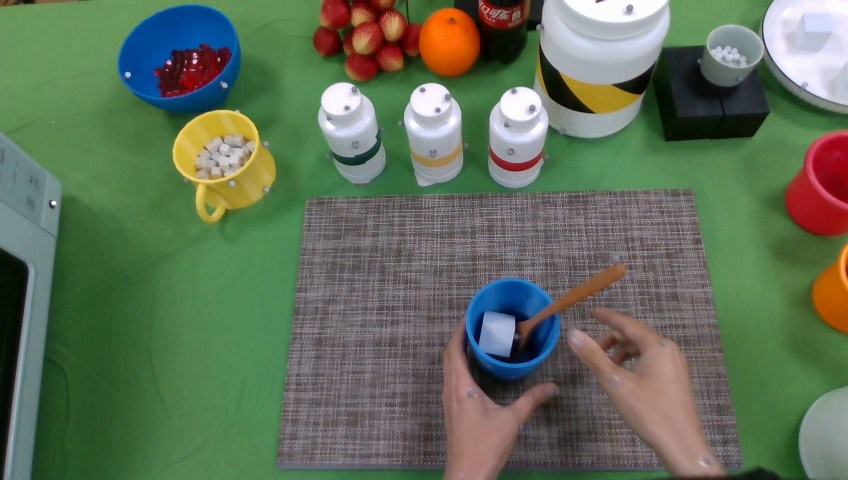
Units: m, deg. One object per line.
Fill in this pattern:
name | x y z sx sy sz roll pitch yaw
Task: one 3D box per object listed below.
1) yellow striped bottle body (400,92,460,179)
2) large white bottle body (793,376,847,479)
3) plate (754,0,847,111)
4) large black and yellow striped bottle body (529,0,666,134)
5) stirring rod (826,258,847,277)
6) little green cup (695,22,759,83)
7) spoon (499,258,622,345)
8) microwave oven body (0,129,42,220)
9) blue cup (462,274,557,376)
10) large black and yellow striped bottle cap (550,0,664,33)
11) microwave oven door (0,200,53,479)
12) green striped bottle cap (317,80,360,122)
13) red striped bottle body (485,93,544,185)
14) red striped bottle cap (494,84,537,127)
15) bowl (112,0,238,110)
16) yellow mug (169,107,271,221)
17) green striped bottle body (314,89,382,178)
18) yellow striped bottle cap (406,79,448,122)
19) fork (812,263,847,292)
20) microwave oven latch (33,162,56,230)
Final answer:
yellow striped bottle body | 0.008 -0.125 0.682 0.063 0.121 0.062 -2 66 5
large white bottle body | 0.406 0.159 0.489 0.130 0.186 0.129 -2 65 4
plate | 0.508 -0.240 0.741 0.209 0.038 0.207 -1 66 4
large black and yellow striped bottle body | 0.189 -0.221 0.676 0.131 0.185 0.129 -2 66 4
stirring rod | 0.434 0.054 0.559 0.014 0.006 0.175 -7 23 0
little green cup | 0.339 -0.210 0.685 0.061 0.039 0.061 -1 65 3
spoon | 0.110 0.066 0.553 0.022 0.194 0.041 8 57 -25
microwave oven body | -0.579 0.094 0.549 0.326 0.262 0.438 -10 66 0
blue cup | 0.080 0.091 0.588 0.092 0.101 0.092 -2 65 4
large black and yellow striped bottle cap | 0.182 -0.254 0.599 0.115 0.019 0.114 -2 65 4
microwave oven door | -0.429 0.105 0.527 0.039 0.246 0.352 -10 65 0
green striped bottle cap | -0.091 -0.148 0.643 0.044 0.020 0.044 -1 65 3
red striped bottle body | 0.100 -0.117 0.672 0.063 0.121 0.062 -3 63 7
red striped bottle cap | 0.095 -0.139 0.625 0.044 0.018 0.044 0 64 0
bowl | -0.302 -0.219 0.771 0.151 0.077 0.150 -1 66 3
yellow mug | -0.243 -0.084 0.713 0.100 0.064 0.130 8 67 7
green striped bottle body | -0.087 -0.127 0.691 0.063 0.120 0.062 -2 65 4
yellow striped bottle cap | 0.003 -0.147 0.635 0.044 0.019 0.044 -1 67 3
fork | 0.461 0.054 0.552 0.028 0.019 0.205 -35 24 -16
microwave oven latch | -0.453 -0.050 0.709 0.030 0.030 0.078 -8 66 0
